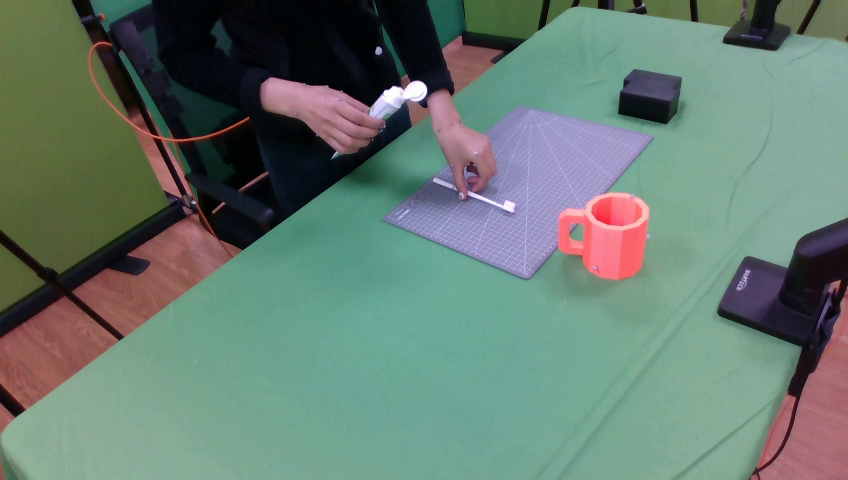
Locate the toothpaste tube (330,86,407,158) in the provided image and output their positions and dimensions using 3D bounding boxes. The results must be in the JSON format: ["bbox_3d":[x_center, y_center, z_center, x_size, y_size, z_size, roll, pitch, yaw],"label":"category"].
[{"bbox_3d":[-0.089,-0.190,0.974,0.164,0.034,0.055,-37,1,29],"label":"toothpaste tube"}]

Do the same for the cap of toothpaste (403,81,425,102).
[{"bbox_3d":[-0.016,-0.235,0.951,0.037,0.011,0.037,-2,73,8],"label":"cap of toothpaste"}]

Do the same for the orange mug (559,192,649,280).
[{"bbox_3d":[0.261,-0.008,0.884,0.126,0.101,0.083,9,43,14],"label":"orange mug"}]

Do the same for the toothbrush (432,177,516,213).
[{"bbox_3d":[0.085,-0.083,1.063,0.180,0.016,0.014,24,20,34],"label":"toothbrush"}]
